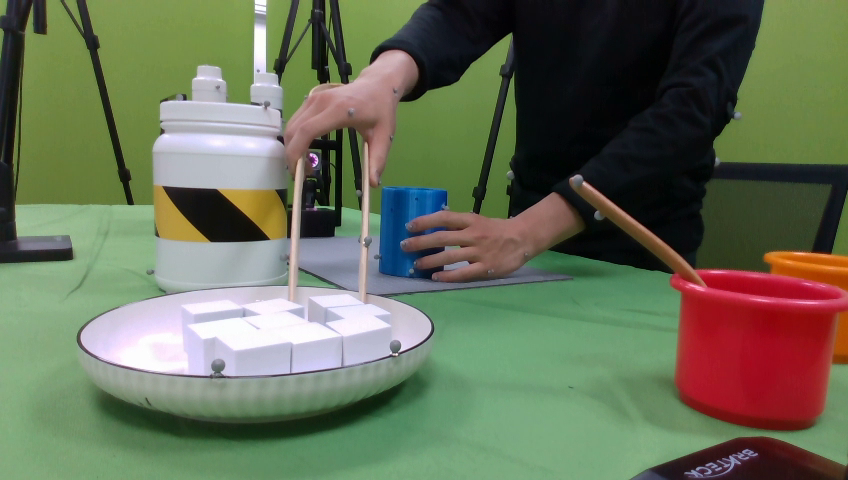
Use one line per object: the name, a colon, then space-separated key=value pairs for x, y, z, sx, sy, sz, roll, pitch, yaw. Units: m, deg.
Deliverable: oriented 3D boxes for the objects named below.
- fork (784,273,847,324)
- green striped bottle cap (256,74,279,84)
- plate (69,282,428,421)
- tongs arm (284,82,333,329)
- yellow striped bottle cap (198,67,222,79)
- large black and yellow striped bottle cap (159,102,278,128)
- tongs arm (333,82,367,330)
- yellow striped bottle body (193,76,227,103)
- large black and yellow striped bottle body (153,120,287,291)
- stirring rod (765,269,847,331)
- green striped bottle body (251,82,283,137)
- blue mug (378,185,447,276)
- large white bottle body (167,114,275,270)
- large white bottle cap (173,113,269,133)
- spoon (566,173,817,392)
fork: x=0.332 y=0.018 z=0.444 sx=0.028 sy=0.018 sz=0.207 roll=-1 pitch=-36 yaw=-15
green striped bottle cap: x=-0.314 y=-0.321 z=1.214 sx=0.044 sy=0.020 sz=0.044 roll=2 pitch=8 yaw=0
plate: x=-0.102 y=0.066 z=0.381 sx=0.208 sy=0.039 sz=0.207 roll=2 pitch=7 yaw=0
tongs arm: x=-0.107 y=-0.063 z=0.573 sx=0.028 sy=0.028 sz=0.386 roll=-1 pitch=37 yaw=-5
yellow striped bottle cap: x=-0.411 y=-0.320 z=1.163 sx=0.044 sy=0.018 sz=0.044 roll=1 pitch=6 yaw=0
large black and yellow striped bottle cap: x=-0.207 y=-0.125 z=0.615 sx=0.115 sy=0.019 sz=0.115 roll=2 pitch=6 yaw=0
tongs arm: x=-0.077 y=-0.062 z=0.578 sx=0.051 sy=0.026 sz=0.384 roll=3 pitch=37 yaw=-5
yellow striped bottle body: x=-0.414 y=-0.268 z=1.169 sx=0.063 sy=0.120 sz=0.063 roll=2 pitch=7 yaw=0
large black and yellow striped bottle body: x=-0.208 y=-0.043 z=0.626 sx=0.131 sy=0.184 sz=0.130 roll=2 pitch=7 yaw=0
stirring rod: x=0.352 y=0.020 z=0.484 sx=0.176 sy=0.006 sz=0.014 roll=-40 pitch=-6 yaw=13
green striped bottle body: x=-0.317 y=-0.270 z=1.220 sx=0.063 sy=0.119 sz=0.063 roll=2 pitch=7 yaw=0
blue mug: x=-0.022 y=-0.016 z=0.763 sx=0.083 sy=0.106 sz=0.116 roll=-2 pitch=8 yaw=-27
large white bottle body: x=-0.257 y=-0.063 z=0.771 sx=0.131 sy=0.184 sz=0.130 roll=2 pitch=7 yaw=0
large white bottle cap: x=-0.254 y=-0.146 z=0.760 sx=0.115 sy=0.018 sz=0.115 roll=1 pitch=7 yaw=0
spoon: x=0.161 y=0.024 z=0.370 sx=0.193 sy=0.021 sz=0.042 roll=47 pitch=18 yaw=3
